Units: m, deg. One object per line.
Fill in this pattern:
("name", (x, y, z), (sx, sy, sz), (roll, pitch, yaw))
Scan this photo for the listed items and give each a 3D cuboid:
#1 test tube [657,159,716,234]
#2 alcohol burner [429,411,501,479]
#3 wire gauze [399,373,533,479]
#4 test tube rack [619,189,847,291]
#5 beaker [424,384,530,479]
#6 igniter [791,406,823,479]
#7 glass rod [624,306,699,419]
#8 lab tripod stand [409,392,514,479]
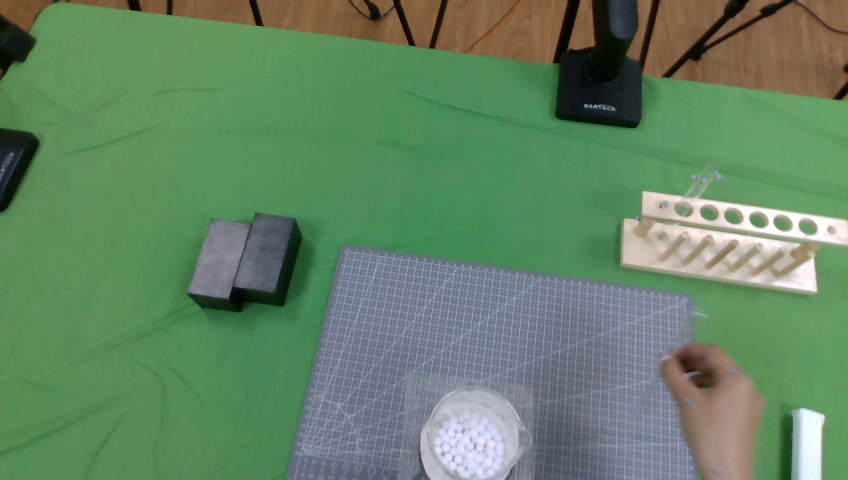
("test tube", (0.307, -0.047, 0.717), (0.017, 0.151, 0.017), (0, 62, 0))
("alcohol burner", (0.044, 0.215, 0.632), (0.078, 0.120, 0.077), (1, 64, -2))
("wire gauze", (0.039, 0.187, 0.561), (0.125, 0.011, 0.120), (5, 64, 4))
("test tube rack", (0.376, 0.002, 0.750), (0.242, 0.086, 0.066), (8, 66, 3))
("beaker", (0.042, 0.170, 0.516), (0.084, 0.101, 0.073), (4, 65, 1))
("igniter", (0.402, 0.314, 0.642), (0.057, 0.025, 0.275), (19, 67, -3))
("glass rod", (0.234, 0.129, 0.609), (0.008, 0.201, 0.008), (3, 46, -3))
("lab tripod stand", (0.038, 0.217, 0.620), (0.148, 0.132, 0.147), (0, 64, 1))
